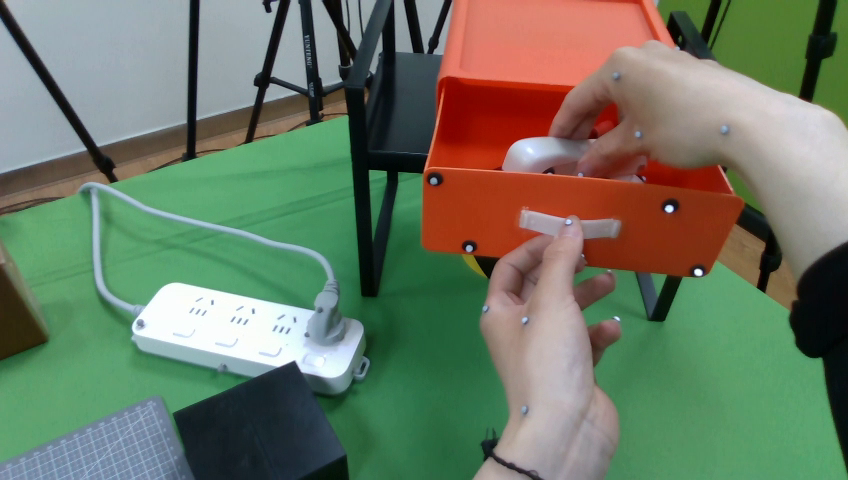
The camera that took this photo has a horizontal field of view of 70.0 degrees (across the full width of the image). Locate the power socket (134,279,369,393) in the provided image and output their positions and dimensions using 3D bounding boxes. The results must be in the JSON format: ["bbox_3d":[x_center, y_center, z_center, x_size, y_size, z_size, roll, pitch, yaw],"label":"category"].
[{"bbox_3d":[-0.162,0.088,0.570,0.226,0.033,0.071,11,42,10],"label":"power socket"}]

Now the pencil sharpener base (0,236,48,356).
[{"bbox_3d":[-0.401,0.052,0.542,0.077,0.108,0.060,-25,49,-27],"label":"pencil sharpener base"}]

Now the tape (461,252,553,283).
[{"bbox_3d":[0.097,-0.011,0.680,0.117,0.053,0.115,2,43,-1],"label":"tape"}]

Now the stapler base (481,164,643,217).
[{"bbox_3d":[0.107,-0.041,0.455,0.131,0.024,0.041,-4,43,-23],"label":"stapler base"}]

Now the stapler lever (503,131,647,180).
[{"bbox_3d":[0.113,-0.059,0.441,0.118,0.040,0.026,-6,44,-21],"label":"stapler lever"}]

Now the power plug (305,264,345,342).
[{"bbox_3d":[-0.082,0.065,0.564,0.035,0.053,0.072,19,45,18],"label":"power plug"}]

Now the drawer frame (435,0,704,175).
[{"bbox_3d":[0.118,-0.155,0.549,0.201,0.083,0.211,4,41,3],"label":"drawer frame"}]

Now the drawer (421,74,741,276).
[{"bbox_3d":[0.105,-0.074,0.463,0.194,0.074,0.210,5,41,3],"label":"drawer"}]

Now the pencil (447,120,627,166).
[{"bbox_3d":[0.091,-0.077,0.496,0.194,0.012,0.012,-16,45,-24],"label":"pencil"}]
